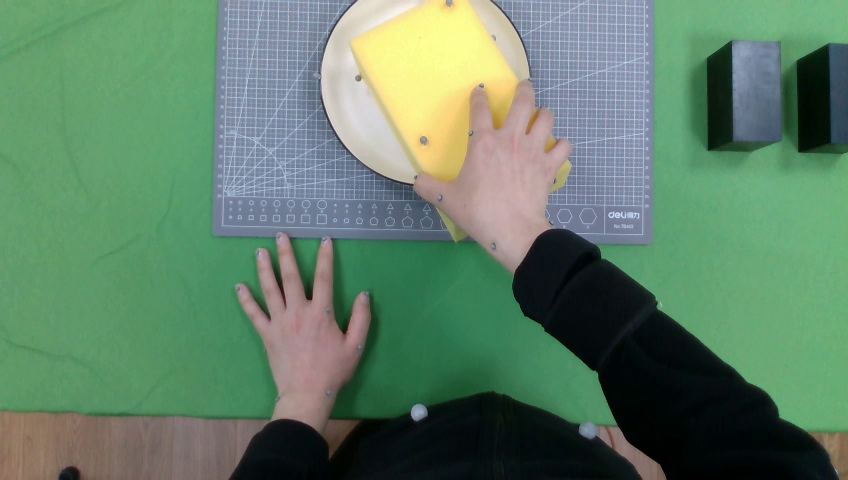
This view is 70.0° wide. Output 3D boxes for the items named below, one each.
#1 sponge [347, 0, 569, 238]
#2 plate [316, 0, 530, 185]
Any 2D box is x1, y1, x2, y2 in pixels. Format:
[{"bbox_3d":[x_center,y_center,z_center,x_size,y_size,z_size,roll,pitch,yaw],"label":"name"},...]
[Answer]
[{"bbox_3d":[0.029,-0.120,0.569,0.118,0.061,0.205,-29,77,-3],"label":"sponge"},{"bbox_3d":[0.000,-0.156,0.607,0.209,0.038,0.209,0,88,-3],"label":"plate"}]
